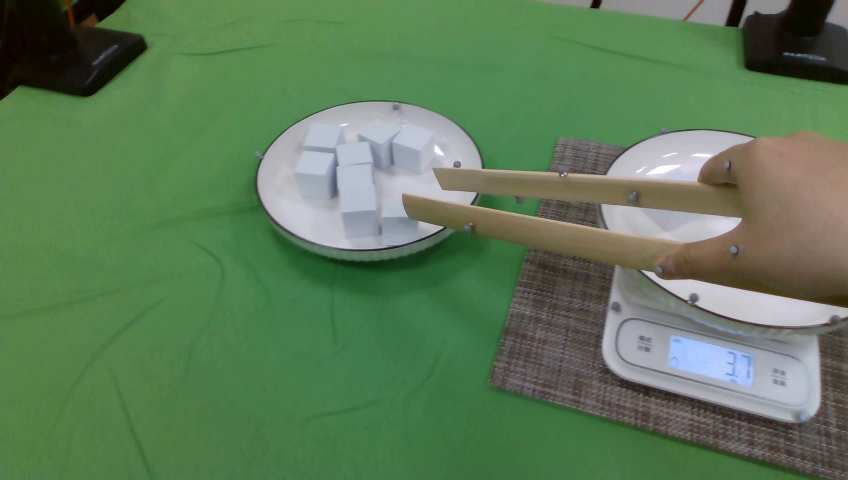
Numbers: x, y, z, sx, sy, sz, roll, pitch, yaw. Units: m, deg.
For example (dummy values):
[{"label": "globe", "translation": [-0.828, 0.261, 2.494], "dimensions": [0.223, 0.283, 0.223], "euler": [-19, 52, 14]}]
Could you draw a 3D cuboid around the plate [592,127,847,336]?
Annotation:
[{"label": "plate", "translation": [0.234, -0.009, 0.473], "dimensions": [0.208, 0.039, 0.205], "euler": [0, 49, 0]}]

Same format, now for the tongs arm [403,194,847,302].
[{"label": "tongs arm", "translation": [0.137, 0.000, 0.363], "dimensions": [0.384, 0.028, 0.028], "euler": [11, 42, 38]}]

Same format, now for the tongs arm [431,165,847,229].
[{"label": "tongs arm", "translation": [0.152, -0.017, 0.377], "dimensions": [0.382, 0.027, 0.050], "euler": [8, 44, 36]}]

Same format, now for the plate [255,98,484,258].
[{"label": "plate", "translation": [-0.048, -0.058, 0.565], "dimensions": [0.209, 0.038, 0.207], "euler": [0, 48, 0]}]

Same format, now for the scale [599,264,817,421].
[{"label": "scale", "translation": [0.226, 0.033, 0.479], "dimensions": [0.148, 0.032, 0.199], "euler": [14, 50, 13]}]
